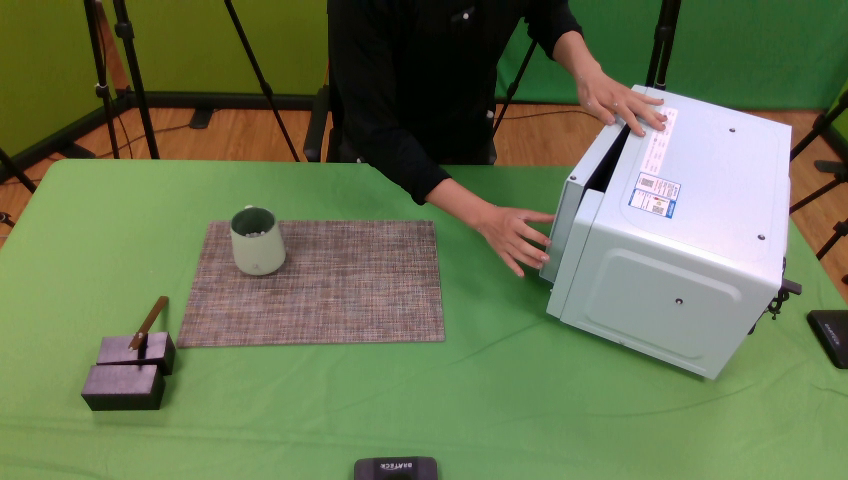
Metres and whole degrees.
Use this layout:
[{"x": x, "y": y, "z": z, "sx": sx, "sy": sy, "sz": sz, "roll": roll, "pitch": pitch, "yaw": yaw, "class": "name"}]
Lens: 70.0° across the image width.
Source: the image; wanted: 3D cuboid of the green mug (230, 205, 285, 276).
[{"x": -0.311, "y": -0.008, "z": 1.118, "sx": 0.092, "sy": 0.105, "sz": 0.124, "roll": -14, "pitch": 49, "yaw": -16, "class": "green mug"}]

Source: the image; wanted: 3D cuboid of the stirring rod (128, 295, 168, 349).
[{"x": -0.451, "y": 0.131, "z": 0.996, "sx": 0.014, "sy": 0.006, "sz": 0.175, "roll": 9, "pitch": 21, "yaw": -10, "class": "stirring rod"}]

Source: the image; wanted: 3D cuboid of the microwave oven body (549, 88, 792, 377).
[{"x": 0.456, "y": -0.028, "z": 1.088, "sx": 0.325, "sy": 0.261, "sz": 0.440, "roll": 20, "pitch": 47, "yaw": 16, "class": "microwave oven body"}]

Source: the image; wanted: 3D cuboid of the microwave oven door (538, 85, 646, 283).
[{"x": 0.326, "y": -0.114, "z": 1.155, "sx": 0.039, "sy": 0.245, "sz": 0.355, "roll": 26, "pitch": 50, "yaw": 19, "class": "microwave oven door"}]

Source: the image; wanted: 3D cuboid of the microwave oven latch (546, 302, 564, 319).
[{"x": 0.242, "y": 0.102, "z": 1.081, "sx": 0.030, "sy": 0.029, "sz": 0.079, "roll": 22, "pitch": 48, "yaw": 18, "class": "microwave oven latch"}]
